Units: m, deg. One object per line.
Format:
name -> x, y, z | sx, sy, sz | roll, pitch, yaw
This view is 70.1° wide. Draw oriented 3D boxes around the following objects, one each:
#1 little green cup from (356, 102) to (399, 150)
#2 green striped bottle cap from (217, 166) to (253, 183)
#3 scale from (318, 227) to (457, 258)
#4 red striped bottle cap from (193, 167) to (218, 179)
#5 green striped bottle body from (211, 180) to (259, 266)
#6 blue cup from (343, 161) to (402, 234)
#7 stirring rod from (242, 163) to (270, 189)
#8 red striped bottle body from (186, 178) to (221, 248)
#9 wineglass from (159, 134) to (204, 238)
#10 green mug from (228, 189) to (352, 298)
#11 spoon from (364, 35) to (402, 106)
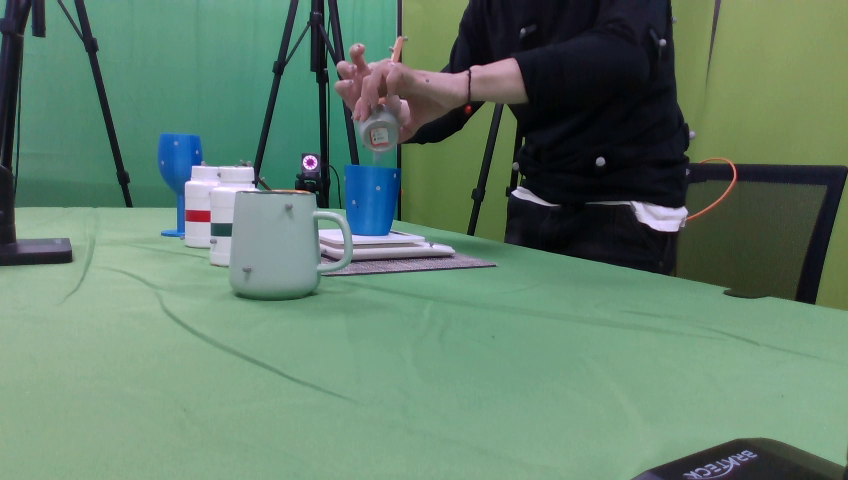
little green cup -> -0.064, -0.157, 0.846 | 0.062, 0.061, 0.038 | 0, 35, -11
green striped bottle cap -> -0.242, -0.085, 0.777 | 0.044, 0.020, 0.044 | 2, 9, 0
scale -> -0.067, 0.001, 0.906 | 0.202, 0.031, 0.148 | -2, 8, -31
red striped bottle cap -> -0.329, -0.103, 0.921 | 0.044, 0.017, 0.044 | -1, 9, 0
green striped bottle body -> -0.243, -0.029, 0.784 | 0.063, 0.119, 0.063 | 2, 7, 0
blue cup -> -0.078, -0.062, 0.884 | 0.093, 0.100, 0.092 | 4, 6, 0
stirring rod -> -0.298, -0.091, 1.198 | 0.014, 0.006, 0.177 | 11, -31, 45
red striped bottle body -> -0.331, -0.050, 0.927 | 0.063, 0.119, 0.063 | 2, 6, 0
wineglass -> -0.415, -0.093, 1.040 | 0.074, 0.172, 0.073 | 2, 7, 0
green mug -> -0.135, 0.002, 0.618 | 0.125, 0.105, 0.092 | 2, 7, 4
spoon -> -0.059, -0.240, 0.907 | 0.041, 0.193, 0.022 | -4, -38, 27
